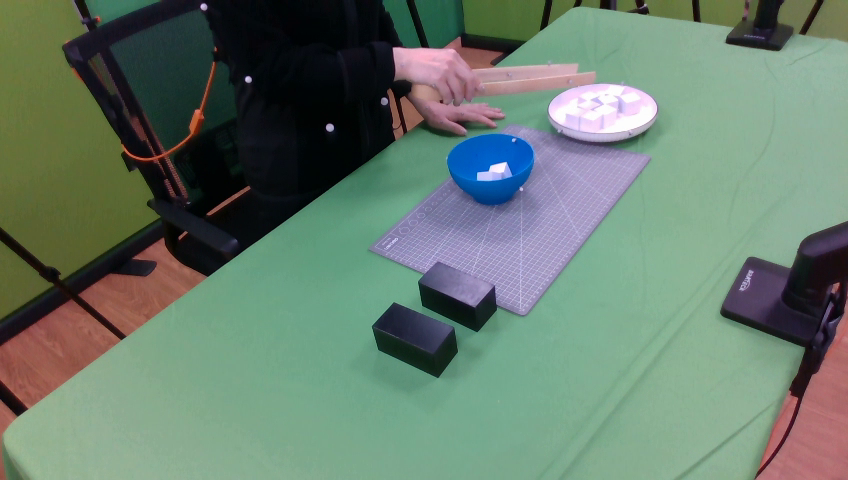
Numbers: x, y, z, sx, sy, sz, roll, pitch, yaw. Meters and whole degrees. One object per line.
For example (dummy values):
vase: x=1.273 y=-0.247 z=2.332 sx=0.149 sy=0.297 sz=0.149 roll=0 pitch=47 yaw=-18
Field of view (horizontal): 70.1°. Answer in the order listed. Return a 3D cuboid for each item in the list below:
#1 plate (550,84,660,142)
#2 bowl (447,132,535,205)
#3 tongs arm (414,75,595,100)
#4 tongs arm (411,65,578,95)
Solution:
plate: x=0.355 y=-0.246 z=1.195 sx=0.207 sy=0.039 sz=0.206 roll=-5 pitch=39 yaw=5
bowl: x=0.119 y=-0.115 z=1.051 sx=0.151 sy=0.077 sz=0.150 roll=-6 pitch=40 yaw=5
tongs arm: x=0.160 y=-0.281 z=1.101 sx=0.390 sy=0.028 sz=0.028 roll=-11 pitch=46 yaw=-27
tongs arm: x=0.145 y=-0.299 z=1.121 sx=0.387 sy=0.026 sz=0.050 roll=-9 pitch=42 yaw=-26
